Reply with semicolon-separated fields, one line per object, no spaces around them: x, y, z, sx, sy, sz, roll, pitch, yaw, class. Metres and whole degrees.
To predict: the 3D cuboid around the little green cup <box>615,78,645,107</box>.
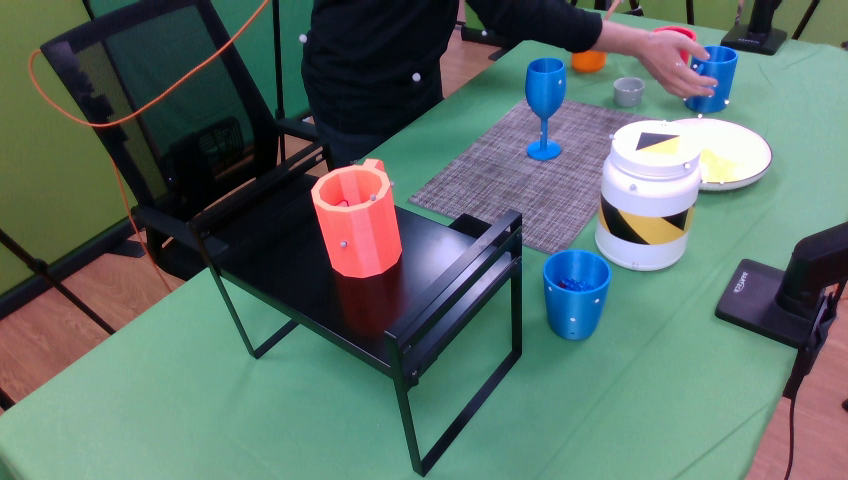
0.426;-0.306;1.257;0.061;0.039;0.061;-4;40;4;little green cup

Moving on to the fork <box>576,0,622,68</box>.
0.409;-0.484;1.381;0.028;0.019;0.207;37;101;46;fork

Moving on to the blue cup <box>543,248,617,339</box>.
0.199;0.076;0.797;0.092;0.100;0.092;-4;39;4;blue cup

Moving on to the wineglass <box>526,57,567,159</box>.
0.221;-0.236;1.097;0.074;0.173;0.073;-5;41;4;wineglass

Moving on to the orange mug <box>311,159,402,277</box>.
-0.069;-0.034;0.694;0.083;0.101;0.126;5;46;16;orange mug

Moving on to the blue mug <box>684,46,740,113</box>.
0.556;-0.311;1.190;0.117;0.106;0.081;-32;46;-25;blue mug

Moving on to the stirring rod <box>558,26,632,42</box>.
0.381;-0.462;1.356;0.175;0.006;0.014;22;48;30;stirring rod

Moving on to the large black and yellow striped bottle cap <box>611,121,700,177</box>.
0.315;-0.126;0.823;0.115;0.019;0.114;-4;42;4;large black and yellow striped bottle cap

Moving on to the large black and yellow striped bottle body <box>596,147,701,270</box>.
0.323;-0.062;0.877;0.131;0.185;0.130;-4;40;4;large black and yellow striped bottle body

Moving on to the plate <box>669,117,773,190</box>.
0.495;-0.148;1.063;0.209;0.038;0.208;-5;40;4;plate
